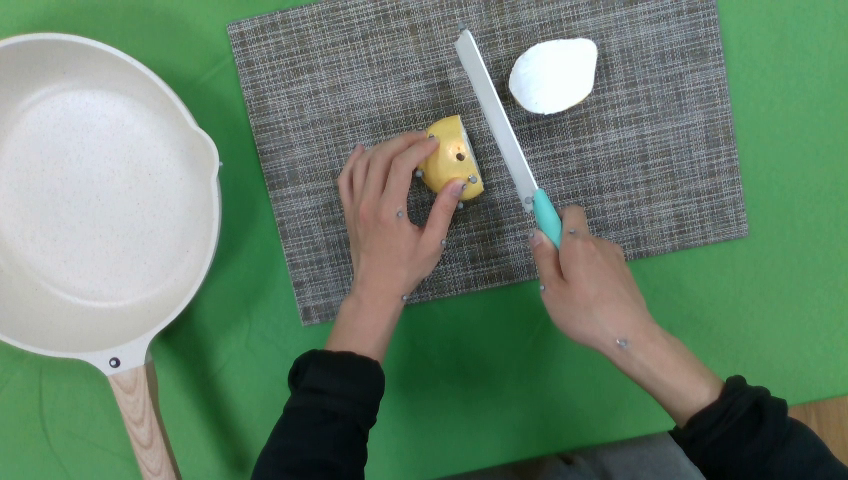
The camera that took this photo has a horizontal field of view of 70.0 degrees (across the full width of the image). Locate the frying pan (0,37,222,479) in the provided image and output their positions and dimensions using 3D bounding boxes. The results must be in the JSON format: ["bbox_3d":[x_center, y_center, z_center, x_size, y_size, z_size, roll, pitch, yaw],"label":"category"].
[{"bbox_3d":[-0.296,0.063,0.573,0.307,0.103,0.487,-17,89,5],"label":"frying pan"}]

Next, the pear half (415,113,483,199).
[{"bbox_3d":[0.020,-0.070,0.535,0.056,0.110,0.076,-26,93,7],"label":"pear half"}]

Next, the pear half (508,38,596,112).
[{"bbox_3d":[0.119,-0.148,0.557,0.088,0.031,0.070,-38,77,-9],"label":"pear half"}]

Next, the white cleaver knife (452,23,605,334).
[{"bbox_3d":[0.089,-0.052,0.524,0.021,0.066,0.286,-23,90,-4],"label":"white cleaver knife"}]
